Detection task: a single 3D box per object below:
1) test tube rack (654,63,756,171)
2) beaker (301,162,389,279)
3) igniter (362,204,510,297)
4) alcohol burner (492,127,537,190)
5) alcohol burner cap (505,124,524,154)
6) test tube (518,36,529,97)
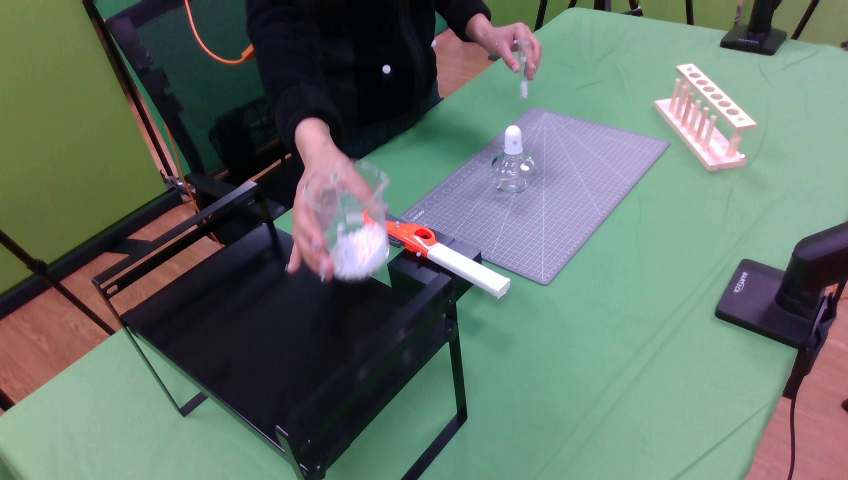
[{"bbox_3d":[0.511,-0.233,1.120,0.067,0.085,0.241,-8,41,-1],"label":"test tube rack"},{"bbox_3d":[-0.072,-0.017,0.601,0.084,0.100,0.073,-13,46,-9],"label":"beaker"},{"bbox_3d":[0.007,0.009,0.887,0.274,0.025,0.057,29,50,32],"label":"igniter"},{"bbox_3d":[0.156,-0.146,1.046,0.078,0.119,0.077,-4,44,4],"label":"alcohol burner"},{"bbox_3d":[0.151,-0.173,1.023,0.034,0.048,0.033,-6,38,5],"label":"alcohol burner cap"},{"bbox_3d":[0.179,-0.305,1.078,0.017,0.151,0.017,-4,64,9],"label":"test tube"}]
